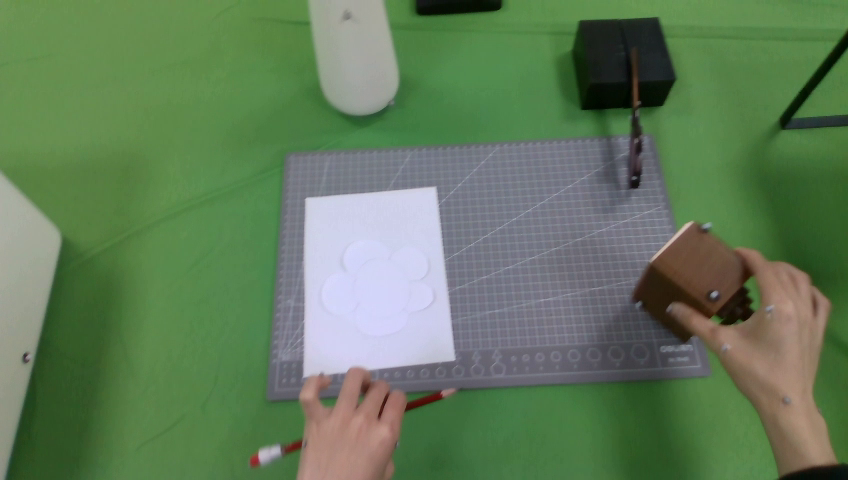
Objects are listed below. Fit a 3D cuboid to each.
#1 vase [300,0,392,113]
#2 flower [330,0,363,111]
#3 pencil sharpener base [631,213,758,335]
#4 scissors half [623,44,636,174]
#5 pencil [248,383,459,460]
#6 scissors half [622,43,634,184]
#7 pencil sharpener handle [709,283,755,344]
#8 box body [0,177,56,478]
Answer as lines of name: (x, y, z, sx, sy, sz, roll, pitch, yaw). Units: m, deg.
vase: (-0.092, -0.238, 0.692, 0.098, 0.201, 0.097, -1, 63, 2)
flower: (-0.102, -0.286, 0.623, 0.044, 0.365, 0.038, -10, 46, 0)
pencil sharpener base: (0.250, 0.036, 0.569, 0.061, 0.108, 0.076, -40, 68, -10)
scissors half: (0.233, -0.155, 0.692, 0.013, 0.040, 0.174, 1, 65, 11)
pencil: (-0.061, 0.158, 0.534, 0.194, 0.012, 0.012, -18, 65, -3)
scissors half: (0.238, -0.150, 0.711, 0.012, 0.040, 0.174, 0, 82, 16)
pencil sharpener handle: (0.279, 0.067, 0.538, 0.036, 0.068, 0.030, -35, 66, -21)
box body: (-0.526, 0.109, 0.554, 0.254, 0.161, 0.361, -3, 64, 0)
